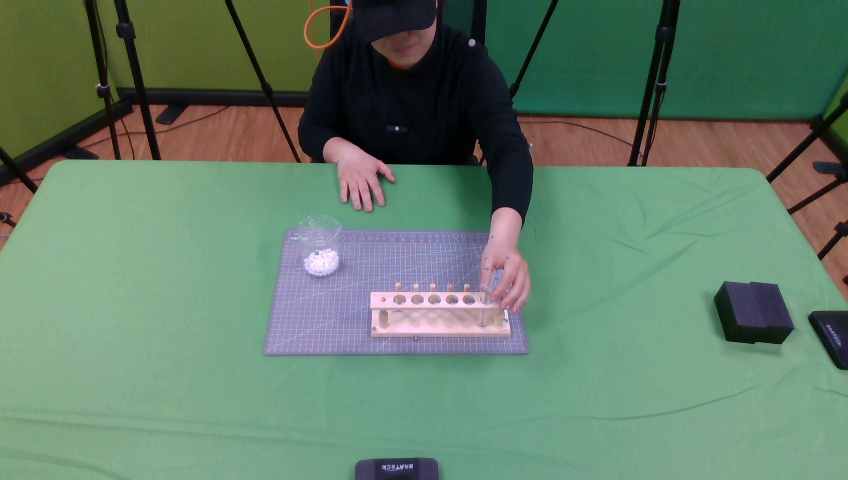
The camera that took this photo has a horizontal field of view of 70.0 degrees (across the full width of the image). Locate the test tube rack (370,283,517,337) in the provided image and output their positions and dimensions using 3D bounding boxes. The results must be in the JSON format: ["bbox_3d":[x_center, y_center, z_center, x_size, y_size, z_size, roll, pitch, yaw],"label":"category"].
[{"bbox_3d":[0.030,0.116,1.041,0.242,0.085,0.066,1,46,-4],"label":"test tube rack"}]

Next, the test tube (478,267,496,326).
[{"bbox_3d":[0.103,0.096,0.997,0.017,0.151,0.017,1,48,-1],"label":"test tube"}]

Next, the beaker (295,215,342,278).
[{"bbox_3d":[-0.191,0.013,1.114,0.084,0.101,0.073,-12,49,-17],"label":"beaker"}]
